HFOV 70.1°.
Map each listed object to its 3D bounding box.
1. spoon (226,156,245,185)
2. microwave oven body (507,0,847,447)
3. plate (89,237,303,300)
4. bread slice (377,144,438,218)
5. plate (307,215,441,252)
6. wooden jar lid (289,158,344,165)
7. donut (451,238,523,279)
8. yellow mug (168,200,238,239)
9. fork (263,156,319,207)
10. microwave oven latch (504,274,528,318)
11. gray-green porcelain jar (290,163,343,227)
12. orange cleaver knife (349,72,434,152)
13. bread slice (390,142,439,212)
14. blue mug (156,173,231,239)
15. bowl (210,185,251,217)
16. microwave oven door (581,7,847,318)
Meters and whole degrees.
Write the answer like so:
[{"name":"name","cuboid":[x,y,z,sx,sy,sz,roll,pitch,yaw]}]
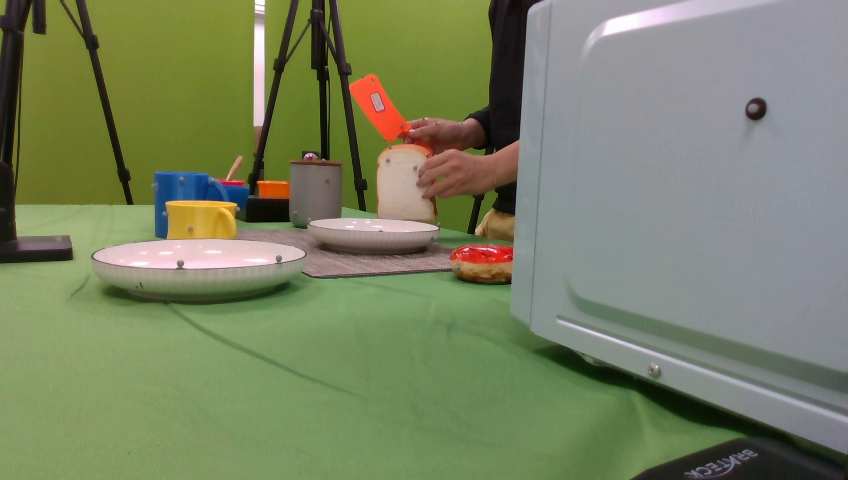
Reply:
[{"name":"spoon","cuboid":[-0.477,-0.145,1.492,0.041,0.022,0.193,0,51,12]},{"name":"microwave oven body","cuboid":[0.331,-0.042,0.425,0.444,0.260,0.324,-2,8,-31]},{"name":"plate","cuboid":[-0.233,0.029,0.637,0.208,0.039,0.207,2,7,0]},{"name":"bread slice","cuboid":[-0.034,-0.102,1.077,0.107,0.134,0.018,-5,15,10]},{"name":"plate","cuboid":[-0.078,-0.012,0.954,0.209,0.038,0.209,2,8,0]},{"name":"wooden jar lid","cuboid":[-0.215,-0.153,1.212,0.108,0.020,0.108,2,5,0]},{"name":"donut","cuboid":[0.083,0.022,0.745,0.099,0.048,0.099,1,5,0]},{"name":"yellow mug","cuboid":[-0.320,-0.023,0.904,0.130,0.064,0.100,9,11,36]},{"name":"fork","cuboid":[-0.331,-0.144,1.505,0.207,0.018,0.028,-42,-20,22]},{"name":"microwave oven latch","cuboid":[0.100,0.041,0.471,0.079,0.029,0.030,-1,8,-28]},{"name":"gray-green porcelain jar","cuboid":[-0.217,-0.091,1.221,0.106,0.126,0.106,2,7,0]},{"name":"orange cleaver knife","cuboid":[-0.061,-0.233,1.170,0.012,0.212,0.077,-10,39,54]},{"name":"bread slice","cuboid":[-0.024,-0.116,1.124,0.105,0.131,0.019,1,11,8]},{"name":"blue mug","cuboid":[-0.381,-0.057,1.004,0.117,0.106,0.082,0,8,-12]},{"name":"bowl","cuboid":[-0.408,-0.064,1.155,0.151,0.077,0.151,2,8,0]},{"name":"microwave oven door","cuboid":[0.295,-0.067,0.570,0.358,0.243,0.039,-3,8,-31]}]
